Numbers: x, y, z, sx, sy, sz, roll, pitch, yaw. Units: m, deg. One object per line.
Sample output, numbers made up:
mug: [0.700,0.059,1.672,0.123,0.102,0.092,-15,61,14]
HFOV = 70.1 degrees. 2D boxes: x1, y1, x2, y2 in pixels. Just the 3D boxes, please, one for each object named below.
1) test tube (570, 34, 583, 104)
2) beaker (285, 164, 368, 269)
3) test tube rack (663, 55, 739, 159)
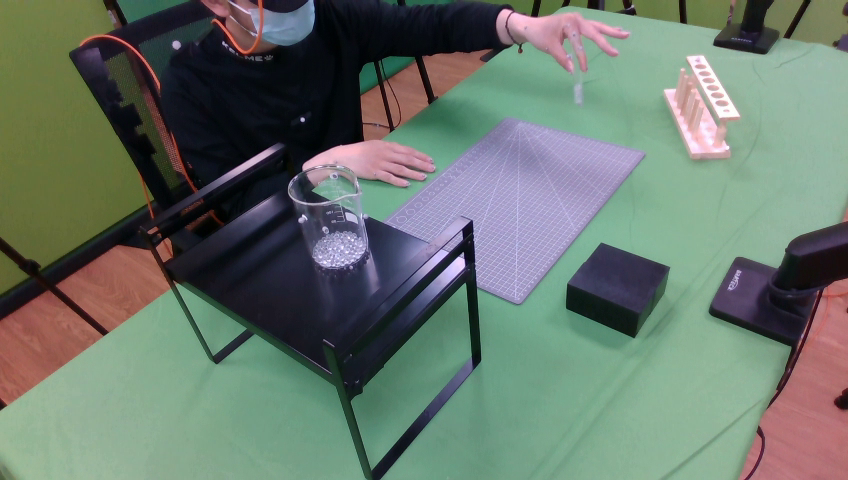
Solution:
test tube: [0.260,-0.288,1.030,0.017,0.151,0.017,-8,56,13]
beaker: [-0.102,-0.024,0.676,0.083,0.101,0.074,8,44,17]
test tube rack: [0.518,-0.256,1.144,0.066,0.085,0.241,-1,41,8]
